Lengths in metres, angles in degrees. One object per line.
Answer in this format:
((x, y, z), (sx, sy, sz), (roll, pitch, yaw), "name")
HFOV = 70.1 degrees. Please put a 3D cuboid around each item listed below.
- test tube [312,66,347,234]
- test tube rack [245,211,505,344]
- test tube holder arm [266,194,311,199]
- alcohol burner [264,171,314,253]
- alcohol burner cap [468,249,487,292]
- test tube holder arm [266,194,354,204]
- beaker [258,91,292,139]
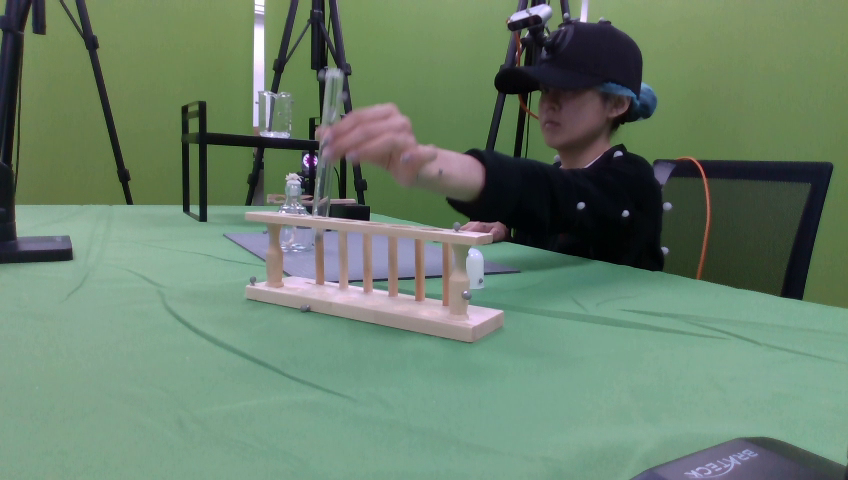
((-0.086, -0.080, 0.544), (0.017, 0.150, 0.017), (7, 3, 0), "test tube")
((-0.049, 0.025, 0.547), (0.241, 0.085, 0.067), (7, 8, 29), "test tube rack")
((-0.262, -0.084, 1.173), (0.088, 0.010, 0.015), (-3, 1, -30), "test tube holder arm")
((-0.194, -0.042, 0.888), (0.078, 0.119, 0.078), (3, 5, 0), "alcohol burner")
((0.056, 0.035, 0.690), (0.034, 0.048, 0.034), (2, 7, 0), "alcohol burner cap")
((-0.222, -0.082, 1.196), (0.179, 0.013, 0.015), (-4, 2, -30), "test tube holder arm")
((-0.331, -0.276, 1.343), (0.074, 0.100, 0.083), (0, 8, -20), "beaker")
